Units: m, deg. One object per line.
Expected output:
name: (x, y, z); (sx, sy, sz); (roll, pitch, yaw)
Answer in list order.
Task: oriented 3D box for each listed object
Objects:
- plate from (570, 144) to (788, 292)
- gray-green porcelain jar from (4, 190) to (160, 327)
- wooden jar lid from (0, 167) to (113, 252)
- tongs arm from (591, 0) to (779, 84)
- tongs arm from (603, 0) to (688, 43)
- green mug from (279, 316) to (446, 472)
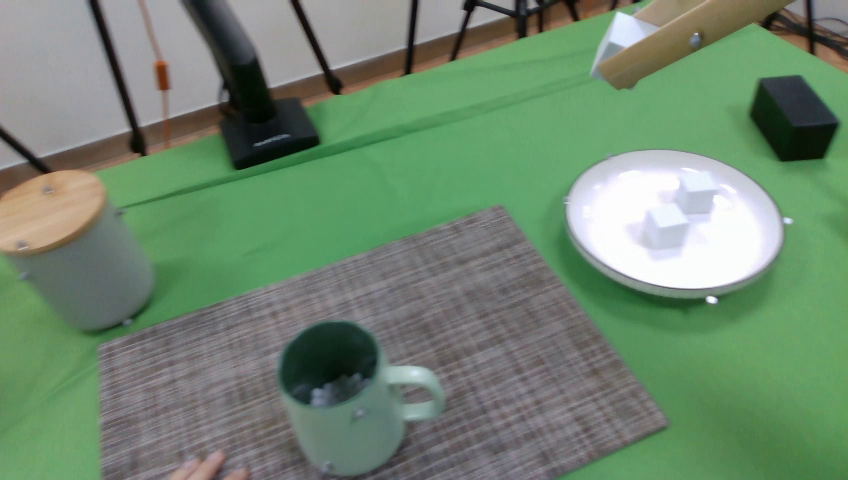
plate: (0.257, -0.023, 0.628); (0.207, 0.039, 0.205); (-4, 46, 4)
gray-green porcelain jar: (-0.336, 0.017, 0.609); (0.106, 0.128, 0.105); (-4, 46, 4)
wooden jar lid: (-0.343, -0.027, 0.565); (0.108, 0.021, 0.107); (-3, 49, 3)
tongs arm: (0.222, -0.156, 0.247); (0.386, 0.028, 0.028); (-23, 31, 54)
tongs arm: (0.231, -0.175, 0.258); (0.384, 0.027, 0.050); (-26, 31, 51)
green mug: (-0.046, 0.121, 0.479); (0.125, 0.106, 0.091); (-3, 45, 5)
